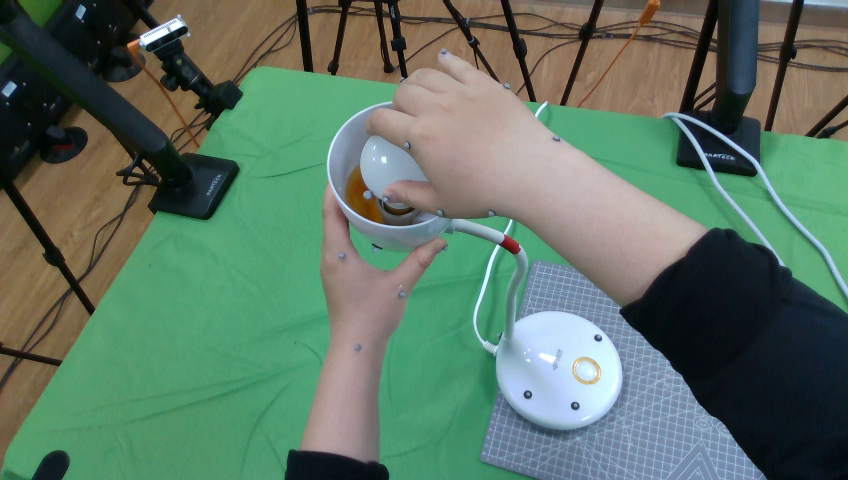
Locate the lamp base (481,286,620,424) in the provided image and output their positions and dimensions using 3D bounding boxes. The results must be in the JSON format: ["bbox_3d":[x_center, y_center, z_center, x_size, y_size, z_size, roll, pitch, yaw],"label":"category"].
[{"bbox_3d":[0.149,0.117,0.725,0.178,0.182,0.159,5,58,15],"label":"lamp base"}]

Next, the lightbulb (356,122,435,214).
[{"bbox_3d":[-0.022,-0.050,0.479,0.059,0.108,0.059,1,69,-3],"label":"lightbulb"}]

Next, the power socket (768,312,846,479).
[{"bbox_3d":[0.456,0.187,0.727,0.072,0.033,0.225,11,59,13],"label":"power socket"}]

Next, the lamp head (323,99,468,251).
[{"bbox_3d":[-0.018,-0.039,0.510,0.112,0.124,0.111,-2,66,4],"label":"lamp head"}]
